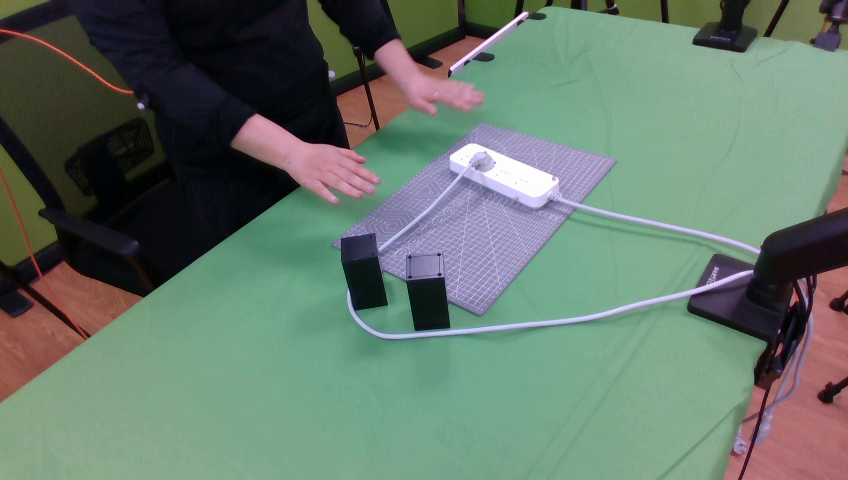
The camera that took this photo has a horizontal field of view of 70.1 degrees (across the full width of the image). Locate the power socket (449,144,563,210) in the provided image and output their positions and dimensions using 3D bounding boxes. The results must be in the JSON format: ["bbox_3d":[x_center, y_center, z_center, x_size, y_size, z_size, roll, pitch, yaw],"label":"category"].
[{"bbox_3d":[0.139,-0.115,1.072,0.225,0.033,0.072,30,53,36],"label":"power socket"}]

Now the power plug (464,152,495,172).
[{"bbox_3d":[0.093,-0.127,1.065,0.073,0.053,0.035,-30,44,-21],"label":"power plug"}]
